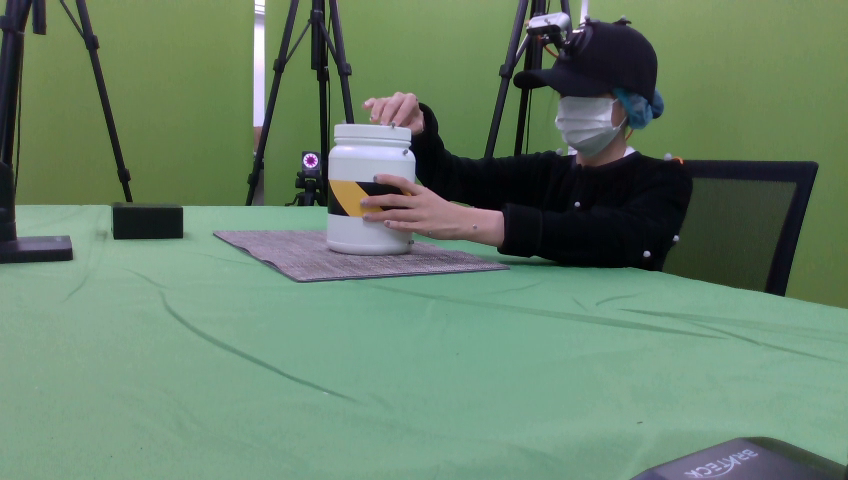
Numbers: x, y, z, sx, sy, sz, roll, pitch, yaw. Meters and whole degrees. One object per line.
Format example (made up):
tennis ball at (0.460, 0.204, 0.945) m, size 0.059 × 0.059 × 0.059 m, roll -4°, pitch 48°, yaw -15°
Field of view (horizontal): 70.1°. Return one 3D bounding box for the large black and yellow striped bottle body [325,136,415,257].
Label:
large black and yellow striped bottle body at (-0.080, -0.074, 0.906) m, size 0.131 × 0.184 × 0.130 m, roll 3°, pitch 7°, yaw 0°

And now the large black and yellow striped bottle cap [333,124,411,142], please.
large black and yellow striped bottle cap at (-0.076, -0.157, 0.895) m, size 0.115 × 0.019 × 0.115 m, roll 4°, pitch 6°, yaw 0°
